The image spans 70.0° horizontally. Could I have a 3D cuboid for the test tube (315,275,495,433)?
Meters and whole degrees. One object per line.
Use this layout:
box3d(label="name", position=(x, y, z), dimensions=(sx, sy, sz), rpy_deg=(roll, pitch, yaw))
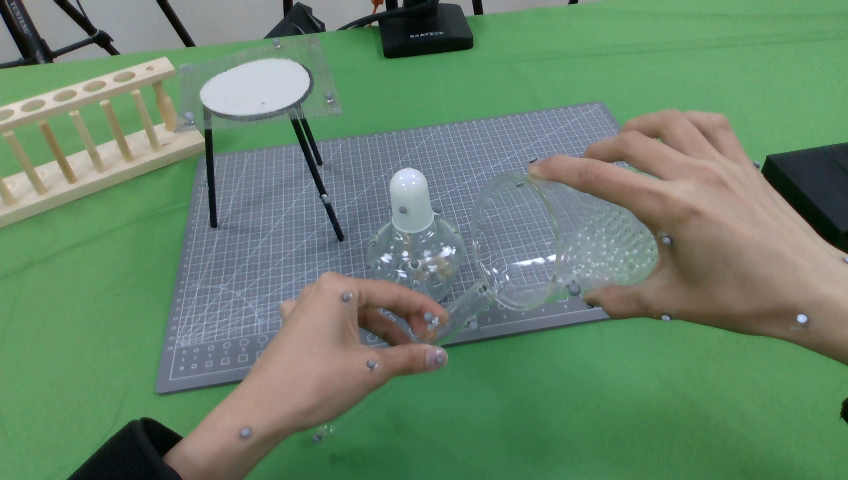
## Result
box3d(label="test tube", position=(-0.015, 0.073, 0.373), dimensions=(0.150, 0.017, 0.017), rpy_deg=(-43, 44, 17))

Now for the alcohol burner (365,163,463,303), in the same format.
box3d(label="alcohol burner", position=(-0.008, -0.008, 0.466), dimensions=(0.078, 0.120, 0.077), rpy_deg=(-2, 43, 2))

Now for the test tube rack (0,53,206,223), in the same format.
box3d(label="test tube rack", position=(-0.357, -0.101, 0.611), dimensions=(0.242, 0.086, 0.066), rpy_deg=(-26, 48, -21))

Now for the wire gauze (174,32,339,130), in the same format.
box3d(label="wire gauze", position=(-0.138, -0.129, 0.487), dimensions=(0.125, 0.011, 0.120), rpy_deg=(-13, 45, -8))

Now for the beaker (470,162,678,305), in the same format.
box3d(label="beaker", position=(0.087, -0.006, 0.348), dimensions=(0.101, 0.084, 0.073), rpy_deg=(-8, 51, -30))

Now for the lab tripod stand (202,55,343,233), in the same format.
box3d(label="lab tripod stand", position=(-0.134, -0.081, 0.535), dimensions=(0.148, 0.133, 0.147), rpy_deg=(-2, 47, 3))

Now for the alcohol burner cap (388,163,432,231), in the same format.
box3d(label="alcohol burner cap", position=(-0.012, -0.034, 0.440), dimensions=(0.034, 0.048, 0.033), rpy_deg=(-3, 46, 4))
